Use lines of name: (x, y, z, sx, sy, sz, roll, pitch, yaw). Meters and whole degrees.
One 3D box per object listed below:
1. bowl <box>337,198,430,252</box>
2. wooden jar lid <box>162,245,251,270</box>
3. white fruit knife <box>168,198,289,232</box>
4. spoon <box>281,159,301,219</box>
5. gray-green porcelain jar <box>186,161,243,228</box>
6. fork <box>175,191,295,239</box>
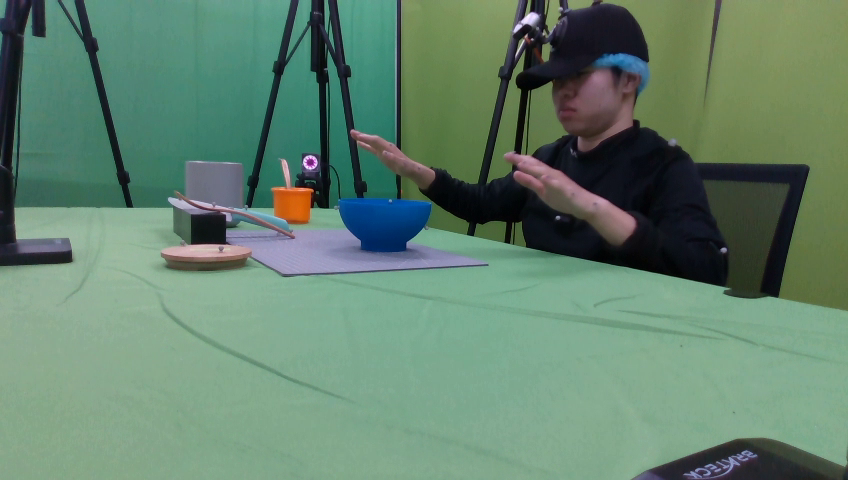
bowl: (-0.066, -0.024, 0.967, 0.151, 0.077, 0.151, 3, 7, 0)
wooden jar lid: (-0.278, 0.022, 0.777, 0.108, 0.020, 0.108, 2, 6, 0)
white fruit knife: (-0.329, -0.044, 1.036, 0.208, 0.027, 0.016, 14, -1, -32)
spoon: (-0.307, -0.117, 1.368, 0.042, 0.193, 0.021, 1, -37, -23)
gray-green porcelain jar: (-0.412, -0.090, 1.193, 0.106, 0.126, 0.106, 2, 7, 0)
fork: (-0.306, -0.039, 0.993, 0.208, 0.018, 0.028, 19, -9, -34)
